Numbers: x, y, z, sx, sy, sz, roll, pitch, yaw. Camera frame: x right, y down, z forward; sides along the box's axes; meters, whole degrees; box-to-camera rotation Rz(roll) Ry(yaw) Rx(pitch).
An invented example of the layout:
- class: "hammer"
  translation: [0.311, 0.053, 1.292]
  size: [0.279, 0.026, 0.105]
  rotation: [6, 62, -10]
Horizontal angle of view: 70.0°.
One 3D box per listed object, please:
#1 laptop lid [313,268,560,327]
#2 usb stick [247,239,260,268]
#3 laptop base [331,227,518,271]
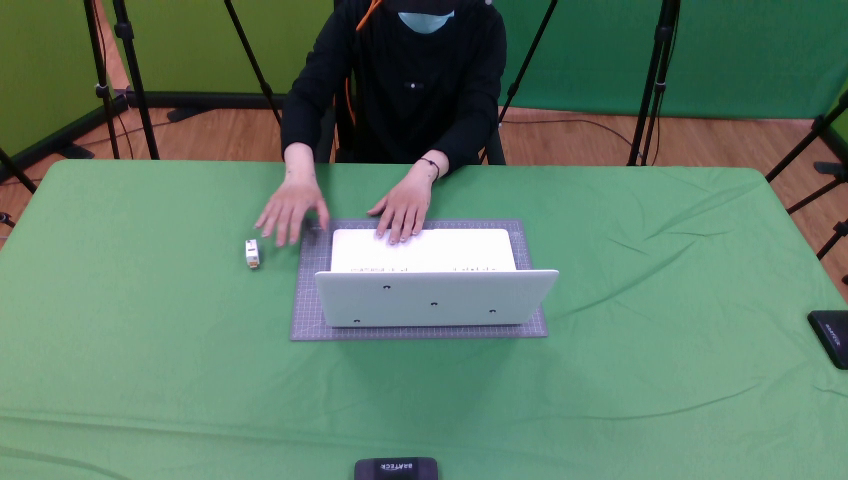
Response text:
- class: "laptop lid"
  translation: [0.015, 0.095, 0.949]
  size: [0.357, 0.242, 0.013]
  rotation: [0, 64, -5]
- class: "usb stick"
  translation: [-0.322, 0.027, 1.144]
  size: [0.021, 0.027, 0.059]
  rotation: [-6, 48, -10]
- class: "laptop base"
  translation: [0.003, 0.062, 1.135]
  size: [0.355, 0.023, 0.234]
  rotation: [0, 43, -4]
